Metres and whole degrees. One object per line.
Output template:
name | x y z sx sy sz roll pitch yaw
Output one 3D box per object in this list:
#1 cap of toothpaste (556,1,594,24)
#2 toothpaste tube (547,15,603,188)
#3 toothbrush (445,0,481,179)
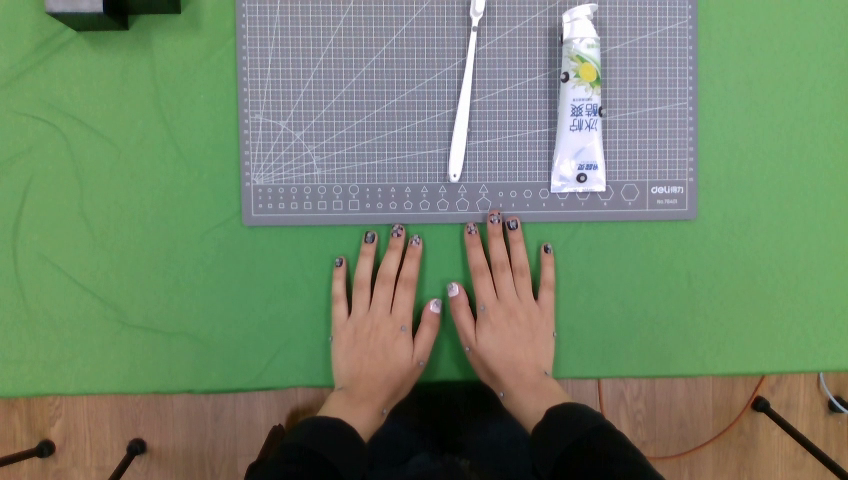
cap of toothpaste | 0.144 -0.216 0.578 0.037 0.037 0.011 -14 90 -2
toothpaste tube | 0.146 -0.134 0.588 0.055 0.034 0.165 -2 97 5
toothbrush | 0.038 -0.150 0.587 0.014 0.016 0.182 6 94 -17
